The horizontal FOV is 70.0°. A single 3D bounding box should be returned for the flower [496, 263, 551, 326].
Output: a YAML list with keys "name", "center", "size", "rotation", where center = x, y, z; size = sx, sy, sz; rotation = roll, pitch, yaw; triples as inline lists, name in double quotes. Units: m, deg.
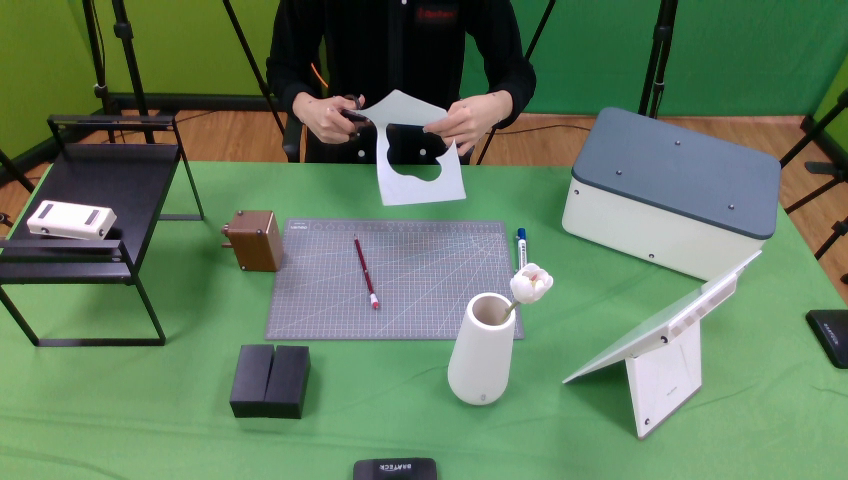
- name: "flower"
  center: [0.102, 0.121, 0.853]
  size: [0.044, 0.363, 0.038]
  rotation: [-1, 64, -10]

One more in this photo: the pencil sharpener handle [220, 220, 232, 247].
- name: "pencil sharpener handle"
  center: [-0.362, -0.009, 1.105]
  size: [0.030, 0.068, 0.036]
  rotation: [1, 52, 1]

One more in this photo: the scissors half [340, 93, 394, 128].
- name: "scissors half"
  center: [-0.102, -0.224, 1.064]
  size: [0.013, 0.040, 0.174]
  rotation: [-15, 35, -33]

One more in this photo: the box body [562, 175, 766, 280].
- name: "box body"
  center: [0.486, -0.088, 1.222]
  size: [0.363, 0.161, 0.253]
  rotation: [20, 48, 15]

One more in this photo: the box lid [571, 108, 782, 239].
- name: "box lid"
  center: [0.491, -0.139, 1.168]
  size: [0.370, 0.015, 0.262]
  rotation: [21, 49, 15]

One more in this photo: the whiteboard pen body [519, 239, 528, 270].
- name: "whiteboard pen body"
  center: [0.193, 0.035, 1.181]
  size: [0.017, 0.017, 0.140]
  rotation: [6, 48, 1]

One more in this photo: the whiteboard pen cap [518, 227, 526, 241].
- name: "whiteboard pen cap"
  center: [0.197, -0.009, 1.220]
  size: [0.018, 0.018, 0.033]
  rotation: [5, 50, 1]

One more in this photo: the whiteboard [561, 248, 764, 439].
- name: "whiteboard"
  center: [0.386, 0.176, 0.905]
  size: [0.217, 0.306, 0.143]
  rotation: [-26, 72, -27]

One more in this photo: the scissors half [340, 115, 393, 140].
- name: "scissors half"
  center: [-0.102, -0.203, 1.070]
  size: [0.013, 0.040, 0.174]
  rotation: [-9, 7, -35]

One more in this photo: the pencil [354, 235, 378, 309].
- name: "pencil"
  center: [-0.113, 0.055, 1.143]
  size: [0.012, 0.012, 0.192]
  rotation: [-10, 46, -13]

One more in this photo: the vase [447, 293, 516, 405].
- name: "vase"
  center: [0.091, 0.169, 0.921]
  size: [0.098, 0.201, 0.097]
  rotation: [3, 47, -3]

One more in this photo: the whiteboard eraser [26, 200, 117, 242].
- name: "whiteboard eraser"
  center: [-0.532, -0.026, 0.919]
  size: [0.113, 0.042, 0.055]
  rotation: [7, 45, 3]

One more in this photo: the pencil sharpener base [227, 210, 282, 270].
- name: "pencil sharpener base"
  center: [-0.311, 0.001, 1.112]
  size: [0.077, 0.107, 0.061]
  rotation: [1, 47, 1]
